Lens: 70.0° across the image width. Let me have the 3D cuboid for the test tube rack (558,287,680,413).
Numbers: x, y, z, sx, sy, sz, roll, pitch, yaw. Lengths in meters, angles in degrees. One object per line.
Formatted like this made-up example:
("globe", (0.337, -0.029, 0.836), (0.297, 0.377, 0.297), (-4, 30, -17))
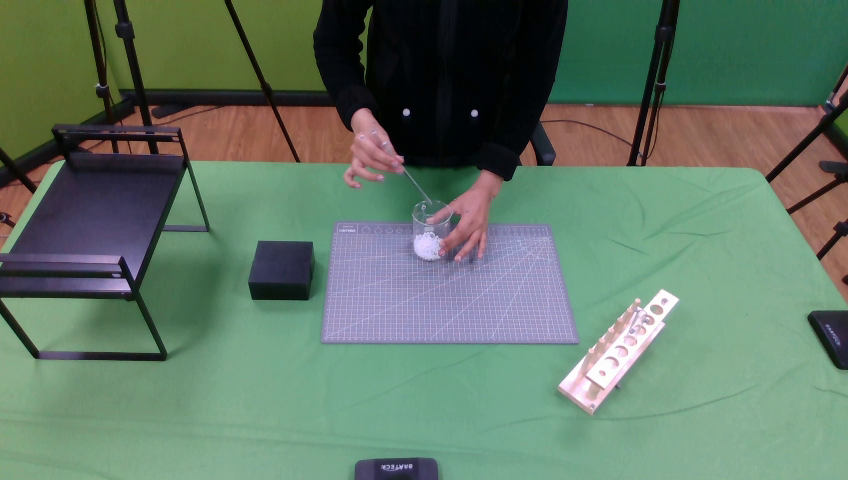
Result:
("test tube rack", (0.326, 0.170, 1.009), (0.066, 0.085, 0.242), (36, 54, 26))

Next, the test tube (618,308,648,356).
("test tube", (0.326, 0.155, 0.955), (0.017, 0.151, 0.017), (-1, 50, 1))

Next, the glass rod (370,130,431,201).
("glass rod", (-0.036, -0.124, 1.039), (0.008, 0.201, 0.008), (-18, 51, 23))

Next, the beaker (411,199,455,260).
("beaker", (0.016, -0.018, 1.152), (0.084, 0.101, 0.073), (-12, 46, -14))
